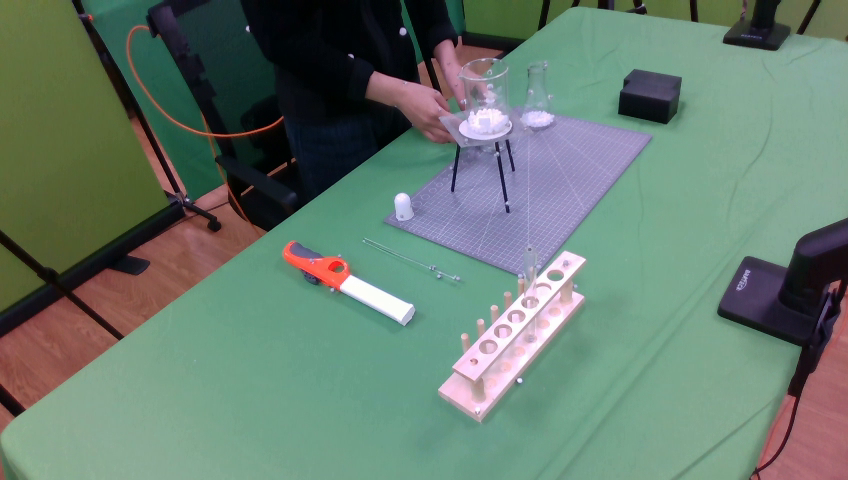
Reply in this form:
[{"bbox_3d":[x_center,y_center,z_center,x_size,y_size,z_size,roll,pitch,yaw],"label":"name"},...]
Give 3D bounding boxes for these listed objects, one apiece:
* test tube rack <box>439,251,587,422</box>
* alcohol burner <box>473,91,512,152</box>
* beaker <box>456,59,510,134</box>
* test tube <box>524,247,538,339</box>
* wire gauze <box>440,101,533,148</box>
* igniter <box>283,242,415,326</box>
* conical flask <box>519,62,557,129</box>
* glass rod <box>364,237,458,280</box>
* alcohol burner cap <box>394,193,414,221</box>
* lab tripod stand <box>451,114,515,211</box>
[{"bbox_3d":[0.118,0.111,0.780,0.066,0.085,0.243,26,51,35],"label":"test tube rack"},{"bbox_3d":[0.132,-0.229,1.154,0.078,0.119,0.077,-5,39,4],"label":"alcohol burner"},{"bbox_3d":[0.097,-0.226,0.964,0.084,0.101,0.073,-7,39,4],"label":"beaker"},{"bbox_3d":[0.133,0.070,0.749,0.017,0.151,0.017,-5,38,4],"label":"test tube"},{"bbox_3d":[0.100,-0.189,0.995,0.125,0.011,0.120,-16,37,-6],"label":"wire gauze"},{"bbox_3d":[-0.126,0.062,0.931,0.274,0.025,0.057,24,61,33],"label":"igniter"},{"bbox_3d":[0.225,-0.288,1.198,0.075,0.122,0.075,-6,40,5],"label":"conical flask"},{"bbox_3d":[-0.026,0.029,0.966,0.198,0.008,0.008,22,49,35],"label":"glass rod"},{"bbox_3d":[-0.036,-0.059,1.040,0.034,0.048,0.033,-5,41,5],"label":"alcohol burner cap"},{"bbox_3d":[0.113,-0.140,1.037,0.148,0.132,0.147,-6,38,5],"label":"lab tripod stand"}]
